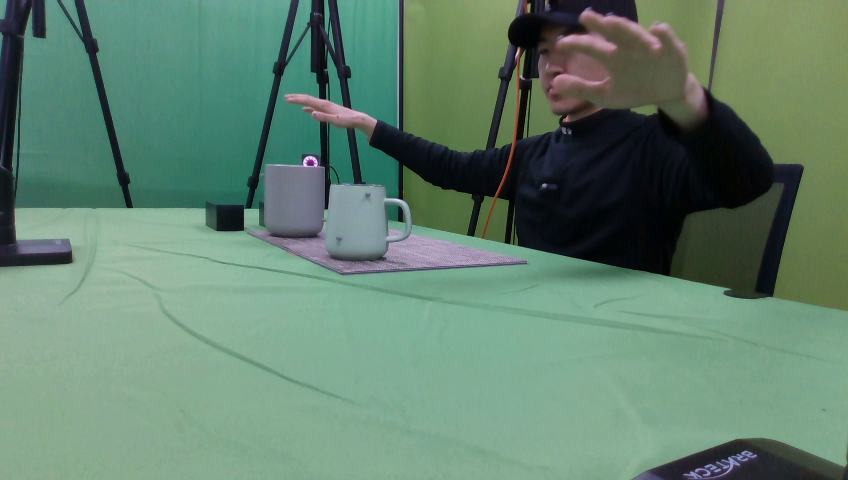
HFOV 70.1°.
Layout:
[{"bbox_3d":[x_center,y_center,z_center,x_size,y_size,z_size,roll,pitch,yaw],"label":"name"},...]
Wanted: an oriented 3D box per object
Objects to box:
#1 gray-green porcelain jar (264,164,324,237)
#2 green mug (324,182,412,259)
[{"bbox_3d":[-0.233,-0.072,1.088,0.106,0.126,0.106,2,7,0],"label":"gray-green porcelain jar"},{"bbox_3d":[-0.079,-0.028,0.864,0.125,0.105,0.092,3,7,9],"label":"green mug"}]
